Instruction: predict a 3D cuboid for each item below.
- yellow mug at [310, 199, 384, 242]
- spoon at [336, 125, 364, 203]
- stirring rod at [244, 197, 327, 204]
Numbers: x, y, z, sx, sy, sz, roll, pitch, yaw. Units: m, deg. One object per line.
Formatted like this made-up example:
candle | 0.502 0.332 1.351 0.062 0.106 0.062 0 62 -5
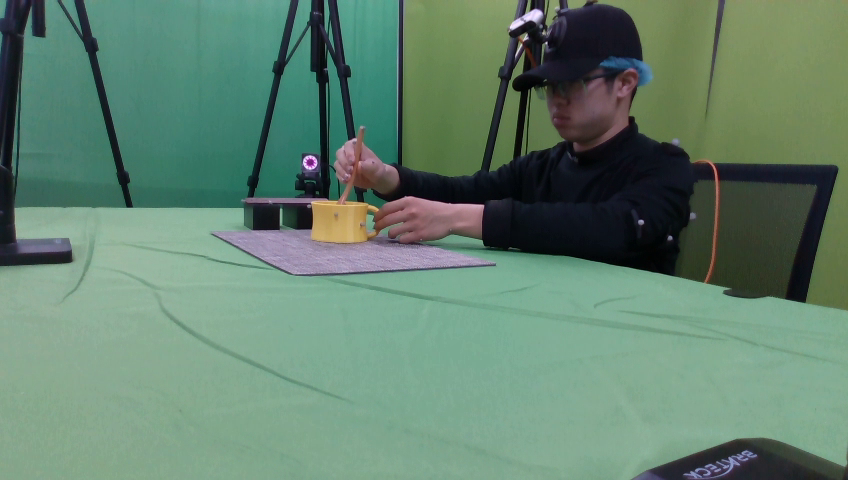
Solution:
yellow mug | -0.132 -0.035 1.054 0.131 0.064 0.099 0 8 -23
spoon | -0.129 -0.102 1.031 0.022 0.193 0.041 18 -1 -19
stirring rod | -0.270 -0.078 1.200 0.177 0.006 0.014 -2 44 -37
